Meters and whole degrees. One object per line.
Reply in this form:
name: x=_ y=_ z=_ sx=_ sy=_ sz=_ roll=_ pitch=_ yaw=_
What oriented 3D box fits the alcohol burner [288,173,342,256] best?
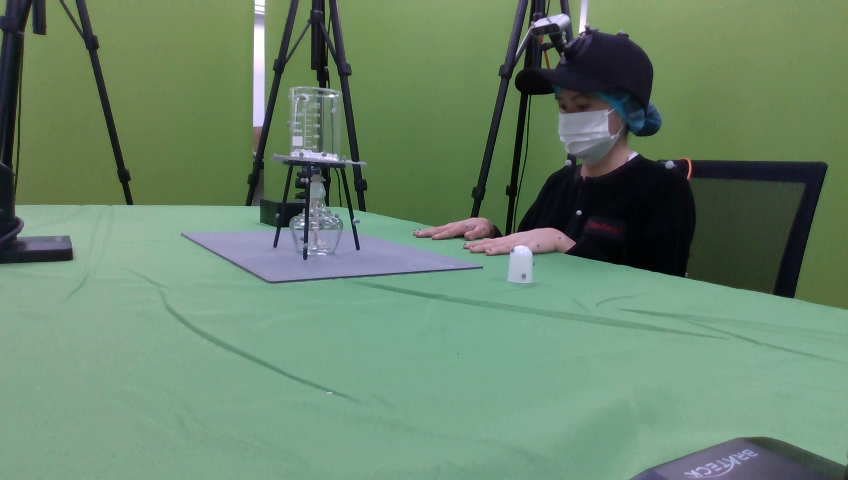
alcohol burner: x=-0.157 y=-0.037 z=0.871 sx=0.078 sy=0.119 sz=0.078 roll=1 pitch=6 yaw=0

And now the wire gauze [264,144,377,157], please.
wire gauze: x=-0.151 y=-0.128 z=0.869 sx=0.122 sy=0.011 sz=0.124 roll=-5 pitch=5 yaw=-35

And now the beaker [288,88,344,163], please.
beaker: x=-0.158 y=-0.160 z=0.859 sx=0.084 sy=0.100 sz=0.074 roll=5 pitch=6 yaw=20

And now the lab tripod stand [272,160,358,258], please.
lab tripod stand: x=-0.159 y=-0.048 z=0.876 sx=0.148 sy=0.131 sz=0.148 roll=3 pitch=5 yaw=0

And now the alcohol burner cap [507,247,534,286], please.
alcohol burner cap: x=0.119 y=0.032 z=0.740 sx=0.034 sy=0.048 sz=0.034 roll=2 pitch=6 yaw=0
